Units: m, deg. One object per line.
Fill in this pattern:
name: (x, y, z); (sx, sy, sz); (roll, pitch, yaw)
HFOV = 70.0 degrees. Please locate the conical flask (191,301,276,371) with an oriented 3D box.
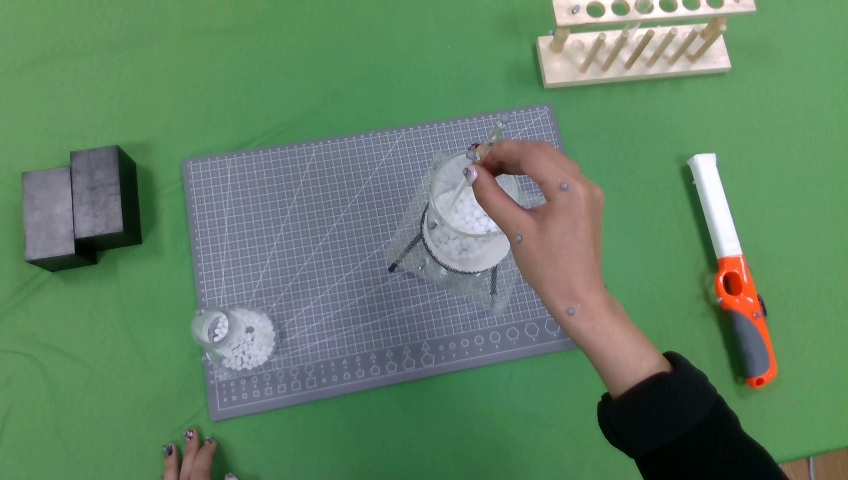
conical flask: (-0.194, 0.090, 0.604); (0.075, 0.122, 0.075); (1, 75, -3)

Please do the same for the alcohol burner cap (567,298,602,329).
alcohol burner cap: (0.181, 0.079, 0.672); (0.034, 0.048, 0.033); (1, 74, -3)

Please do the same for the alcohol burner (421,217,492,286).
alcohol burner: (0.035, 0.008, 0.644); (0.078, 0.119, 0.077); (0, 77, -1)

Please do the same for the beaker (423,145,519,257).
beaker: (0.039, -0.027, 0.525); (0.084, 0.100, 0.074); (39, 77, 6)

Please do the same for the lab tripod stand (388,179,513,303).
lab tripod stand: (0.033, 0.003, 0.635); (0.148, 0.132, 0.147); (1, 77, -2)

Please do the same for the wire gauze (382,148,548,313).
wire gauze: (0.040, -0.012, 0.571); (0.125, 0.011, 0.121); (26, 79, 2)

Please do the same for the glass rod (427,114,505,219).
glass rod: (0.027, -0.049, 0.467); (0.008, 0.200, 0.008); (3, 73, -12)

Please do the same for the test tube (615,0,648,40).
test tube: (0.249, -0.276, 0.696); (0.017, 0.151, 0.017); (0, 76, -1)

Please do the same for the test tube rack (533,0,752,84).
test tube rack: (0.265, -0.252, 0.742); (0.243, 0.085, 0.066); (-7, 76, -5)

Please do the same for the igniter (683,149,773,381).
igniter: (0.355, 0.024, 0.708); (0.057, 0.025, 0.275); (-6, 76, -16)
